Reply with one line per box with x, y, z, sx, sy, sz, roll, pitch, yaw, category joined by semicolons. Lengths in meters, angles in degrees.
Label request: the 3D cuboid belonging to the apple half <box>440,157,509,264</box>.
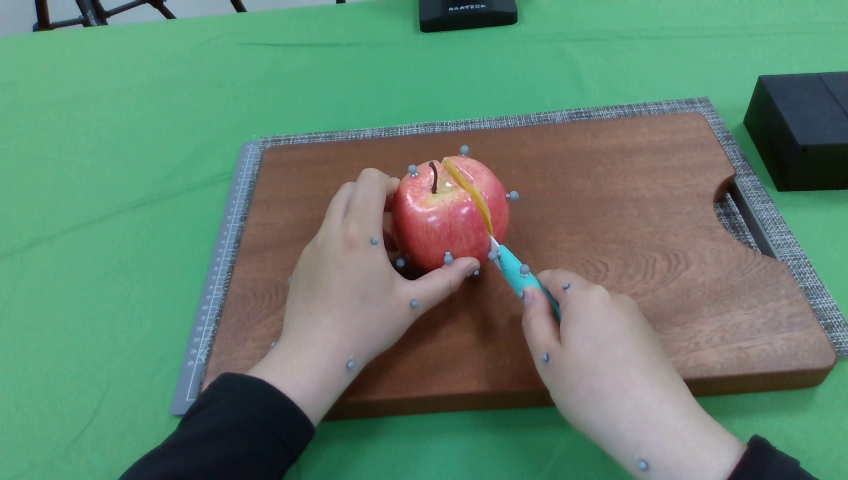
0.041;-0.024;0.435;0.033;0.082;0.080;-24;49;-16;apple half

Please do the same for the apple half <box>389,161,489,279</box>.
0.004;-0.007;0.424;0.053;0.075;0.080;-29;54;-13;apple half

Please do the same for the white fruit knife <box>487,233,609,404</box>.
0.053;0.017;0.397;0.016;0.028;0.205;-24;54;-17;white fruit knife
